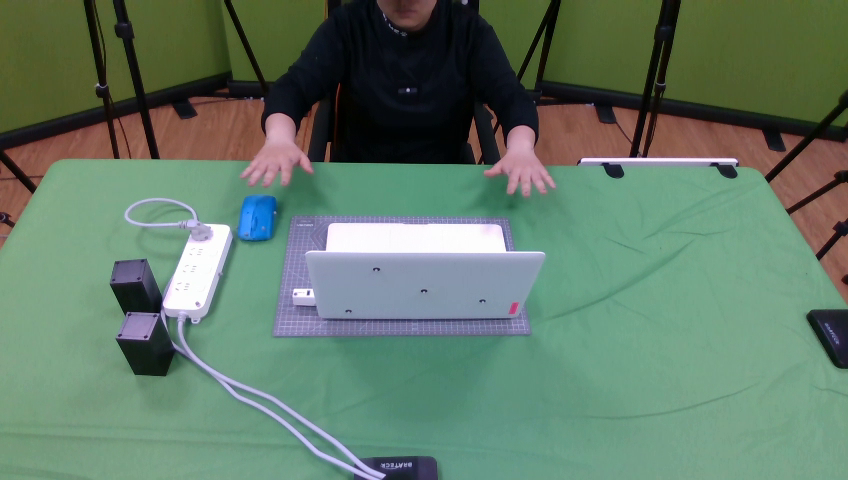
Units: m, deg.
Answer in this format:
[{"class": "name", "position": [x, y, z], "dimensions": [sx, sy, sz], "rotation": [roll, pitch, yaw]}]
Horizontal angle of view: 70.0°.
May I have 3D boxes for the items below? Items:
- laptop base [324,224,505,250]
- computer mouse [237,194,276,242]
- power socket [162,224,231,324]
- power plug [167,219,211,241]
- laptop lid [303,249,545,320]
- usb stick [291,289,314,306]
[{"class": "laptop base", "position": [-0.014, 0.055, 1.144], "dimensions": [0.355, 0.023, 0.234], "rotation": [0, 43, -4]}, {"class": "computer mouse", "position": [-0.333, -0.047, 1.206], "dimensions": [0.063, 0.041, 0.116], "rotation": [3, 51, -5]}, {"class": "power socket", "position": [-0.411, 0.052, 1.107], "dimensions": [0.072, 0.033, 0.225], "rotation": [3, 46, -2]}, {"class": "power plug", "position": [-0.438, -0.017, 1.143], "dimensions": [0.072, 0.053, 0.035], "rotation": [10, 43, 7]}, {"class": "laptop lid", "position": [-0.003, 0.076, 0.962], "dimensions": [0.357, 0.242, 0.013], "rotation": [1, 58, -5]}, {"class": "usb stick", "position": [-0.203, 0.101, 1.067], "dimensions": [0.059, 0.027, 0.021], "rotation": [4, 46, -5]}]
